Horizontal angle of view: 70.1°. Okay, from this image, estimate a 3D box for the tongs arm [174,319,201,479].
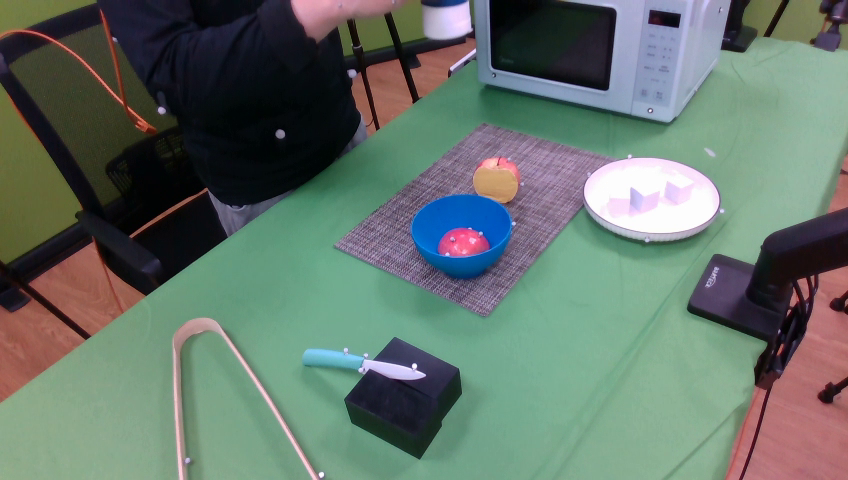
[{"bbox_3d":[-0.272,0.234,0.723,0.051,0.026,0.381,-19,40,-14],"label":"tongs arm"}]

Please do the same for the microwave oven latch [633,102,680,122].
[{"bbox_3d":[0.444,-0.249,1.157,0.078,0.029,0.030,21,49,30],"label":"microwave oven latch"}]

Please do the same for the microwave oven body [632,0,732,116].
[{"bbox_3d":[0.377,-0.462,1.267,0.438,0.261,0.327,21,48,30],"label":"microwave oven body"}]

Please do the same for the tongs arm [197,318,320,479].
[{"bbox_3d":[-0.199,0.207,0.750,0.028,0.028,0.384,-31,45,-22],"label":"tongs arm"}]

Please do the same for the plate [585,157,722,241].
[{"bbox_3d":[0.367,-0.063,0.979,0.207,0.039,0.206,-4,40,4],"label":"plate"}]

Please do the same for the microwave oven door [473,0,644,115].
[{"bbox_3d":[0.257,-0.396,1.199,0.353,0.245,0.039,21,48,29],"label":"microwave oven door"}]

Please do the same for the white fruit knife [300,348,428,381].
[{"bbox_3d":[-0.079,0.154,0.748,0.206,0.027,0.016,1,20,34],"label":"white fruit knife"}]

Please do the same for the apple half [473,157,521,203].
[{"bbox_3d":[0.128,-0.106,1.030,0.080,0.075,0.053,4,38,19],"label":"apple half"}]

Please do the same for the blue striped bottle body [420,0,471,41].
[{"bbox_3d":[0.023,-0.317,0.752,0.063,0.121,0.063,-5,35,4],"label":"blue striped bottle body"}]

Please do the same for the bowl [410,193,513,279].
[{"bbox_3d":[0.058,0.005,0.905,0.151,0.077,0.150,-4,40,4],"label":"bowl"}]

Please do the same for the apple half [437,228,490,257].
[{"bbox_3d":[0.056,0.002,0.901,0.081,0.033,0.081,-3,41,3],"label":"apple half"}]
